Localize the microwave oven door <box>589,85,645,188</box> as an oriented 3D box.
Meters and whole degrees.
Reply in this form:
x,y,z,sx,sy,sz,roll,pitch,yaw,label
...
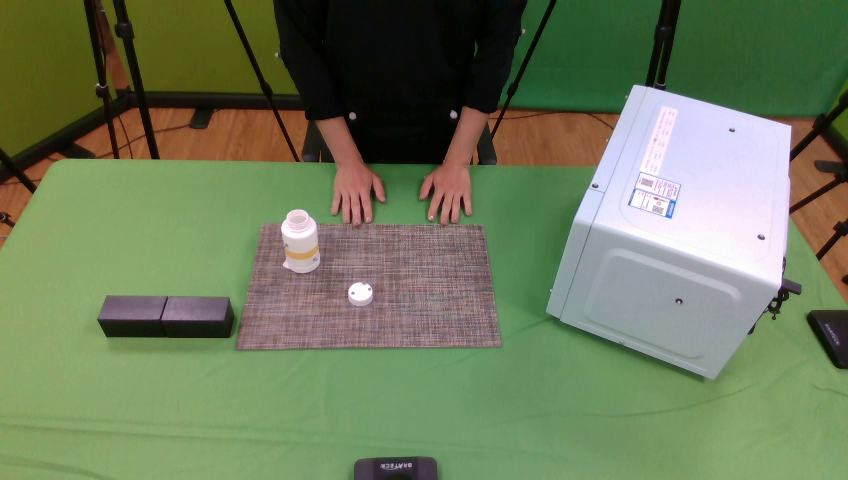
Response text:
x,y,z,sx,sy,sz,roll,pitch,yaw,label
0.341,-0.107,1.149,0.039,0.245,0.354,20,48,15,microwave oven door

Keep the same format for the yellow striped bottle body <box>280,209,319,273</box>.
x,y,z,sx,sy,sz,roll,pitch,yaw,label
-0.227,0.000,1.105,0.063,0.121,0.062,2,46,-2,yellow striped bottle body

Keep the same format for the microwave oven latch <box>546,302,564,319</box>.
x,y,z,sx,sy,sz,roll,pitch,yaw,label
0.242,0.102,1.081,0.030,0.029,0.079,21,48,17,microwave oven latch

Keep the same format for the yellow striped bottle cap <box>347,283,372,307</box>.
x,y,z,sx,sy,sz,roll,pitch,yaw,label
-0.116,0.098,1.093,0.044,0.019,0.044,3,45,-3,yellow striped bottle cap

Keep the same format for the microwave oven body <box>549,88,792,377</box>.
x,y,z,sx,sy,sz,roll,pitch,yaw,label
0.456,-0.028,1.088,0.325,0.261,0.440,20,47,16,microwave oven body
